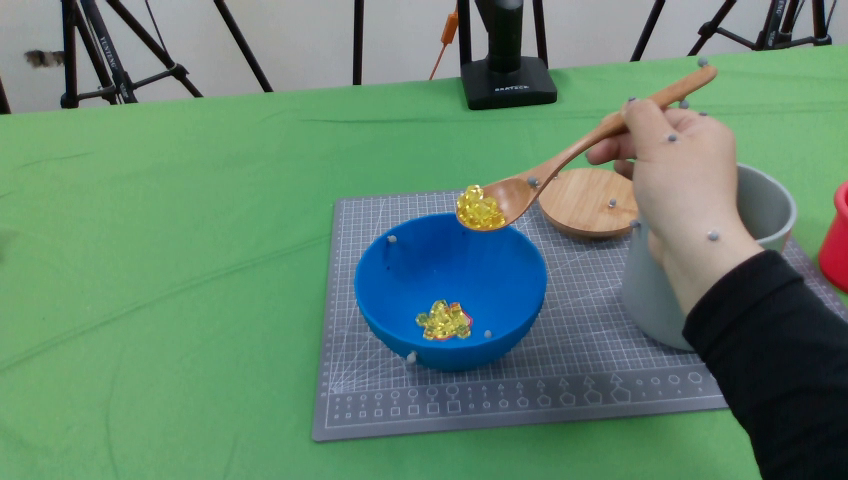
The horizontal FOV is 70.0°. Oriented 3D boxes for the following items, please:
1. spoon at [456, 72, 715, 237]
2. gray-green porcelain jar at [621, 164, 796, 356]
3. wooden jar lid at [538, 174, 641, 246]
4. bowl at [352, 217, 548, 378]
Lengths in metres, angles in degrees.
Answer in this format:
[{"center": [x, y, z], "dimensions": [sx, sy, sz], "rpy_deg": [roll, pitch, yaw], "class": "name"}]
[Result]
[{"center": [0.107, -0.057, 0.406], "dimensions": [0.194, 0.022, 0.041], "rpy_deg": [-33, 46, 10], "class": "spoon"}, {"center": [0.216, 0.020, 0.480], "dimensions": [0.106, 0.128, 0.105], "rpy_deg": [-3, 41, 3], "class": "gray-green porcelain jar"}, {"center": [0.172, -0.031, 0.625], "dimensions": [0.108, 0.021, 0.107], "rpy_deg": [-3, 40, 3], "class": "wooden jar lid"}, {"center": [0.022, 0.058, 0.491], "dimensions": [0.151, 0.077, 0.150], "rpy_deg": [-2, 41, 2], "class": "bowl"}]
